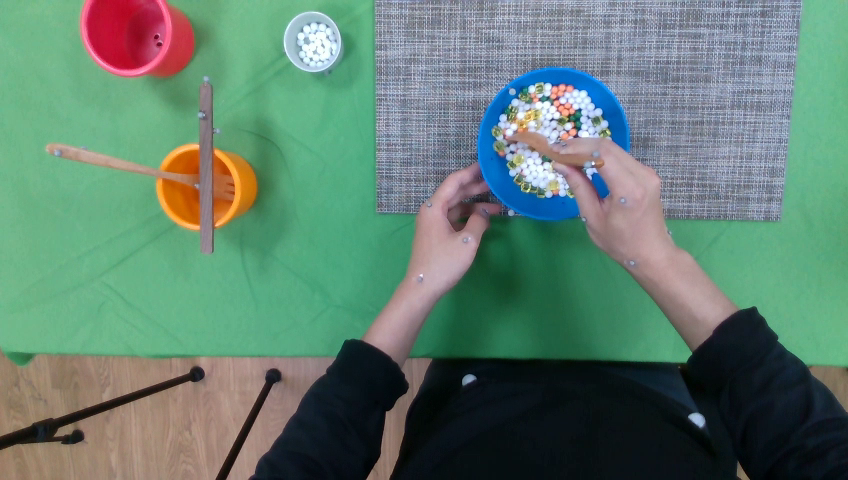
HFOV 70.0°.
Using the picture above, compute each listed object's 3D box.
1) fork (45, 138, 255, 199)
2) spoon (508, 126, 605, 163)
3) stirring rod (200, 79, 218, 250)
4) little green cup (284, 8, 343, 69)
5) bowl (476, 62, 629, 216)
[{"bbox_3d":[-0.277,-0.075,0.636,0.209,0.018,0.028,12,106,-42],"label":"fork"},{"bbox_3d":[0.122,-0.087,0.561,0.042,0.192,0.022,5,107,-12],"label":"spoon"},{"bbox_3d":[-0.223,-0.076,0.629,0.014,0.006,0.176,3,100,5],"label":"stirring rod"},{"bbox_3d":[-0.117,-0.215,0.657,0.061,0.038,0.062,1,100,5],"label":"little green cup"},{"bbox_3d":[0.129,-0.103,0.635,0.151,0.076,0.151,1,99,4],"label":"bowl"}]
